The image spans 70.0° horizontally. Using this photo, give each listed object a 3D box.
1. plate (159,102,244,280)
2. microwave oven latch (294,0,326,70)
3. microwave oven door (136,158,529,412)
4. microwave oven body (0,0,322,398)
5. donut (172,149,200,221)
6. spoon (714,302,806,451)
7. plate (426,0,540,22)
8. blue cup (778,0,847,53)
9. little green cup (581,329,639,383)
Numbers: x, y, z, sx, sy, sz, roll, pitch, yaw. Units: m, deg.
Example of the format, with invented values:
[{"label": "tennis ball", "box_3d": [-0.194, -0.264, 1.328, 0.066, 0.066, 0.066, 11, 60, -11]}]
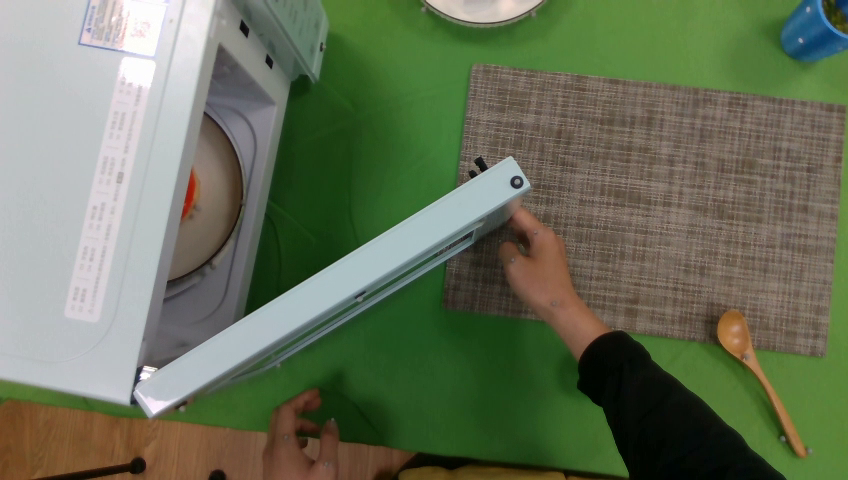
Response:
[{"label": "plate", "box_3d": [-0.298, -0.059, 0.664, 0.209, 0.038, 0.208, 0, 87, 1]}, {"label": "microwave oven latch", "box_3d": [-0.137, -0.244, 0.715, 0.030, 0.029, 0.079, 14, 88, 3]}, {"label": "microwave oven door", "box_3d": [-0.068, 0.043, 0.593, 0.356, 0.244, 0.039, -32, 84, 0]}, {"label": "microwave oven body", "box_3d": [-0.317, -0.102, 0.617, 0.326, 0.260, 0.441, 10, 87, 2]}, {"label": "donut", "box_3d": [-0.292, -0.065, 0.657, 0.099, 0.048, 0.099, 0, 93, 11]}, {"label": "spoon", "box_3d": [0.388, 0.158, 0.694, 0.041, 0.021, 0.193, -29, 87, -16]}, {"label": "plate", "box_3d": [0.072, -0.361, 0.733, 0.207, 0.039, 0.207, 0, 86, 2]}, {"label": "blue cup", "box_3d": [0.454, -0.257, 0.681, 0.092, 0.100, 0.092, 0, 88, 2]}, {"label": "little green cup", "box_3d": [0.211, 0.132, 0.697, 0.061, 0.039, 0.061, 0, 84, 3]}]
